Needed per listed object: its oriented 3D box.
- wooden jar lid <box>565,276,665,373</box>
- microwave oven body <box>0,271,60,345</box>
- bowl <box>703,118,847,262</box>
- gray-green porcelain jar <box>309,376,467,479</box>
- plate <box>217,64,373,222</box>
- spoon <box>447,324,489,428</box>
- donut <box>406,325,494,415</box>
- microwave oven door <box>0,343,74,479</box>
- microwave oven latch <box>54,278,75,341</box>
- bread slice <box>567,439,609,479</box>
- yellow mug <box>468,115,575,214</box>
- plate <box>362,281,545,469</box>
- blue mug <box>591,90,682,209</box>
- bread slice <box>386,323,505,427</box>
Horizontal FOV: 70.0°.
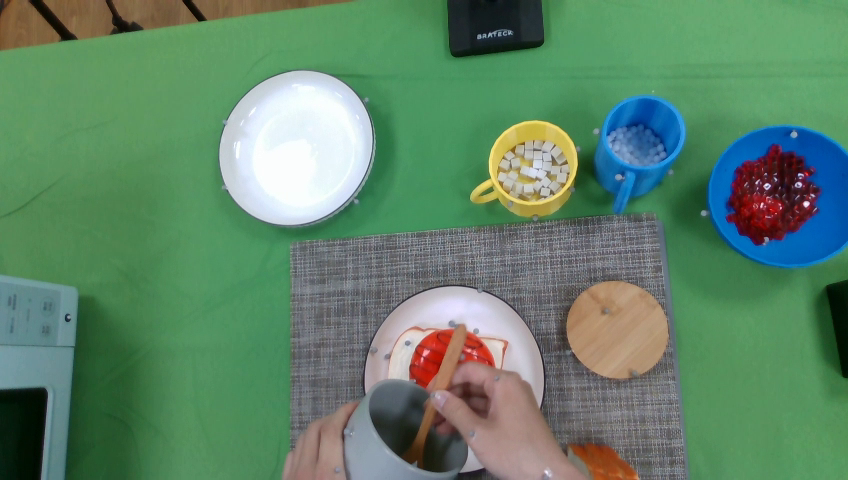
[{"bbox_3d":[0.213,0.095,0.681,0.108,0.021,0.108,-2,81,10],"label":"wooden jar lid"},{"bbox_3d":[-0.629,0.255,0.679,0.325,0.261,0.440,-3,80,9],"label":"microwave oven body"},{"bbox_3d":[0.371,-0.045,0.650,0.151,0.077,0.151,-2,80,10],"label":"bowl"},{"bbox_3d":[-0.038,0.206,0.553,0.105,0.106,0.127,40,113,15],"label":"gray-green porcelain jar"},{"bbox_3d":[-0.163,-0.123,0.780,0.207,0.039,0.207,-2,80,10],"label":"plate"},{"bbox_3d":[0.042,0.136,0.595,0.021,0.196,0.041,1,53,20],"label":"spoon"},{"bbox_3d":[0.028,0.143,0.668,0.099,0.048,0.098,-1,81,7],"label":"donut"},{"bbox_3d":[-0.485,0.287,0.643,0.039,0.245,0.354,-4,79,10],"label":"microwave oven door"},{"bbox_3d":[-0.471,0.090,0.778,0.030,0.029,0.079,-1,81,10],"label":"microwave oven latch"},{"bbox_3d":[0.161,0.261,0.607,0.018,0.135,0.106,4,78,4],"label":"bread slice"},{"bbox_3d":[0.111,-0.080,0.709,0.131,0.064,0.099,-26,76,6],"label":"yellow mug"},{"bbox_3d":[0.033,0.151,0.694,0.209,0.038,0.208,-2,80,10],"label":"plate"},{"bbox_3d":[0.226,-0.091,0.670,0.082,0.106,0.116,16,84,13],"label":"blue mug"},{"bbox_3d":[0.021,0.151,0.699,0.131,0.019,0.104,10,81,9],"label":"bread slice"}]
